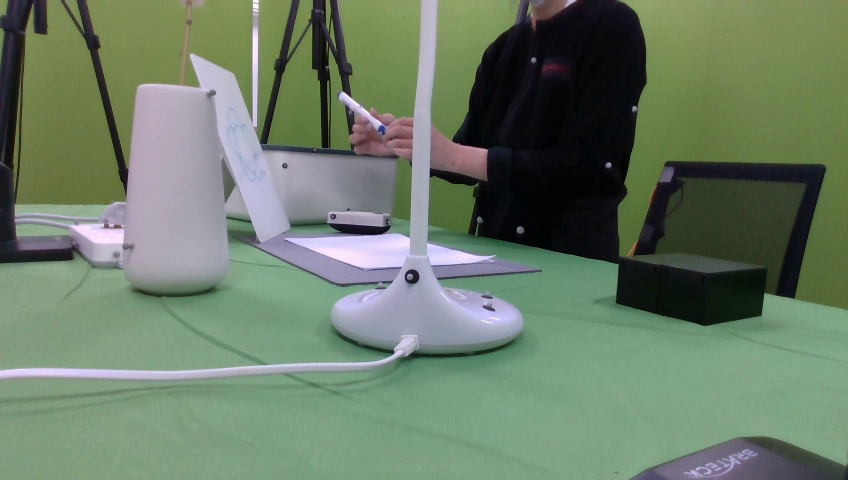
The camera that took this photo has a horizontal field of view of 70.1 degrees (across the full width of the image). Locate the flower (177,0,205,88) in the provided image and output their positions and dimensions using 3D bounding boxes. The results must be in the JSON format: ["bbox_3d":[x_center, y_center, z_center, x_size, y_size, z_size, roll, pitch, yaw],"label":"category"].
[{"bbox_3d":[-0.243,-0.131,0.609,0.044,0.361,0.038,-5,-12,11],"label":"flower"}]

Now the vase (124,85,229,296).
[{"bbox_3d":[-0.244,-0.047,0.598,0.098,0.200,0.098,3,8,0],"label":"vase"}]

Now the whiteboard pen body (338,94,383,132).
[{"bbox_3d":[-0.105,-0.222,1.080,0.140,0.017,0.017,41,26,25],"label":"whiteboard pen body"}]

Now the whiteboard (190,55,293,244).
[{"bbox_3d":[-0.362,-0.129,1.029,0.144,0.305,0.217,-18,7,3],"label":"whiteboard"}]

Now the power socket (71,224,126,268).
[{"bbox_3d":[-0.409,0.004,0.793,0.072,0.032,0.225,-2,8,-37],"label":"power socket"}]

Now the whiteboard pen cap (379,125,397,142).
[{"bbox_3d":[-0.063,-0.186,1.055,0.033,0.018,0.018,38,25,27],"label":"whiteboard pen cap"}]

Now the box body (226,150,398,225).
[{"bbox_3d":[-0.265,-0.129,1.380,0.253,0.160,0.366,8,9,39],"label":"box body"}]

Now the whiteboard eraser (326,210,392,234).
[{"bbox_3d":[-0.121,-0.033,1.131,0.112,0.042,0.056,4,8,13],"label":"whiteboard eraser"}]

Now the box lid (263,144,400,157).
[{"bbox_3d":[-0.263,-0.203,1.369,0.262,0.015,0.373,9,10,39],"label":"box lid"}]

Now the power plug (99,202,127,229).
[{"bbox_3d":[-0.415,-0.026,0.848,0.073,0.052,0.035,6,5,-28],"label":"power plug"}]

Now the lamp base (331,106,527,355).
[{"bbox_3d":[0.006,-0.012,0.478,0.161,0.180,0.179,2,10,2],"label":"lamp base"}]
